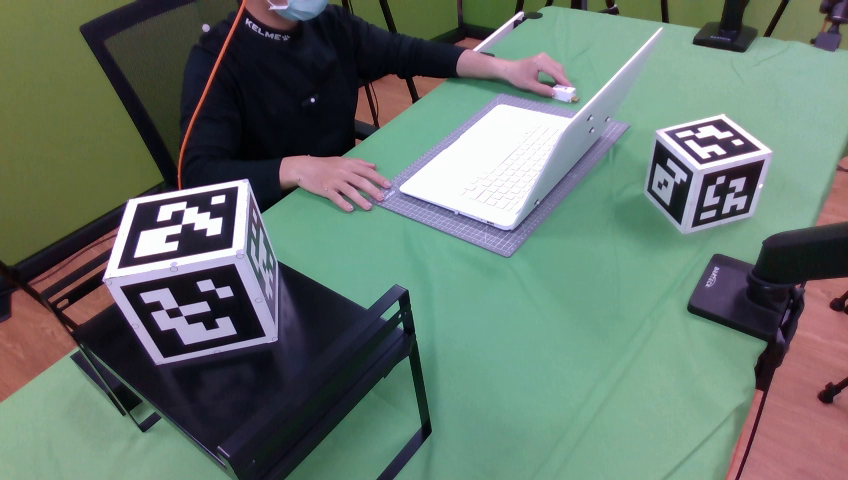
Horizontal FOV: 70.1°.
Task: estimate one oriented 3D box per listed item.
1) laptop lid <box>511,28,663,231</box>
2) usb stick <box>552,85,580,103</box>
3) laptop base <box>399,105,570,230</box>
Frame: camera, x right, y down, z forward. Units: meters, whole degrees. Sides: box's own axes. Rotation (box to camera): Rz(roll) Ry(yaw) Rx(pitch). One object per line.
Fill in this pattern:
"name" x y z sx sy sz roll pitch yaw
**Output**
"laptop lid" 0.265 -0.179 0.972 0.013 0.242 0.357 36 53 14
"usb stick" 0.303 -0.308 1.281 0.058 0.027 0.021 27 48 30
"laptop base" 0.149 -0.147 1.123 0.233 0.023 0.355 20 47 32
